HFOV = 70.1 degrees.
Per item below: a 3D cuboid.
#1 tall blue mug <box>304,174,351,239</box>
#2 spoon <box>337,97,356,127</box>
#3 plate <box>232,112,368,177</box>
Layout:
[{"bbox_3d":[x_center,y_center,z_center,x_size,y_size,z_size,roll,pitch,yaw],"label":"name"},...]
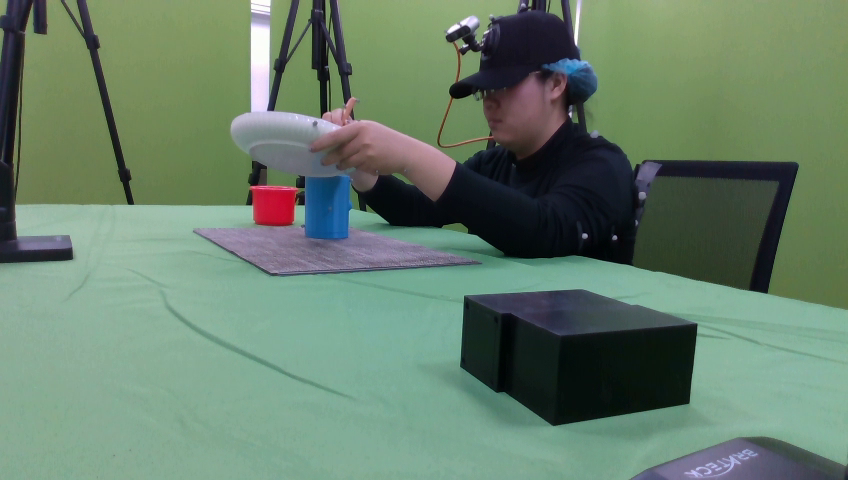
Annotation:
[{"bbox_3d":[-0.178,-0.062,1.062,0.078,0.108,0.106,-5,11,-38],"label":"tall blue mug"},{"bbox_3d":[-0.156,-0.190,1.057,0.041,0.021,0.193,7,47,15],"label":"spoon"},{"bbox_3d":[-0.192,-0.138,0.939,0.208,0.039,0.208,6,-12,2],"label":"plate"}]
